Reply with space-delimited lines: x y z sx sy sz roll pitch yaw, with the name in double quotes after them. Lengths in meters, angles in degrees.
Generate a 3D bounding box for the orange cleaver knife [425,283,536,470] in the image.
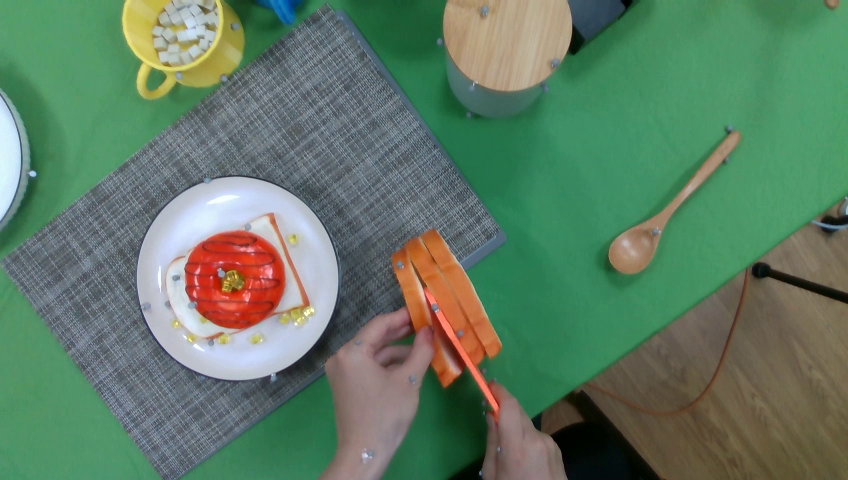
0.055 0.132 0.579 0.012 0.076 0.213 -29 112 1 "orange cleaver knife"

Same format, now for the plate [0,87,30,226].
-0.513 -0.088 0.637 0.207 0.039 0.207 0 91 1 "plate"

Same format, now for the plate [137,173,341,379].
-0.187 0.037 0.627 0.209 0.038 0.209 0 91 2 "plate"

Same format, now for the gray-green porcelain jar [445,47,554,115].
0.072 -0.179 0.577 0.106 0.126 0.106 0 90 1 "gray-green porcelain jar"

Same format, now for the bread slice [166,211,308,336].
-0.199 0.043 0.631 0.131 0.019 0.105 -24 89 -2 "bread slice"

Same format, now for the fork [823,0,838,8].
0.359 -0.266 0.555 0.028 0.019 0.206 25 48 -5 "fork"

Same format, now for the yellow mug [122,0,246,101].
-0.249 -0.198 0.614 0.100 0.064 0.131 32 93 2 "yellow mug"

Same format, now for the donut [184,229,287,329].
-0.185 0.038 0.599 0.099 0.048 0.099 0 91 -2 "donut"

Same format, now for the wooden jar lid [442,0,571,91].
0.069 -0.180 0.514 0.108 0.020 0.108 0 92 -2 "wooden jar lid"

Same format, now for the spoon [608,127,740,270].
0.262 -0.044 0.625 0.041 0.022 0.194 43 92 19 "spoon"

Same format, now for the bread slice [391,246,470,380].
0.007 0.067 0.596 0.018 0.107 0.134 -29 86 1 "bread slice"

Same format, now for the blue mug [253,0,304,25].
-0.151 -0.269 0.591 0.082 0.106 0.116 -16 90 2 "blue mug"
